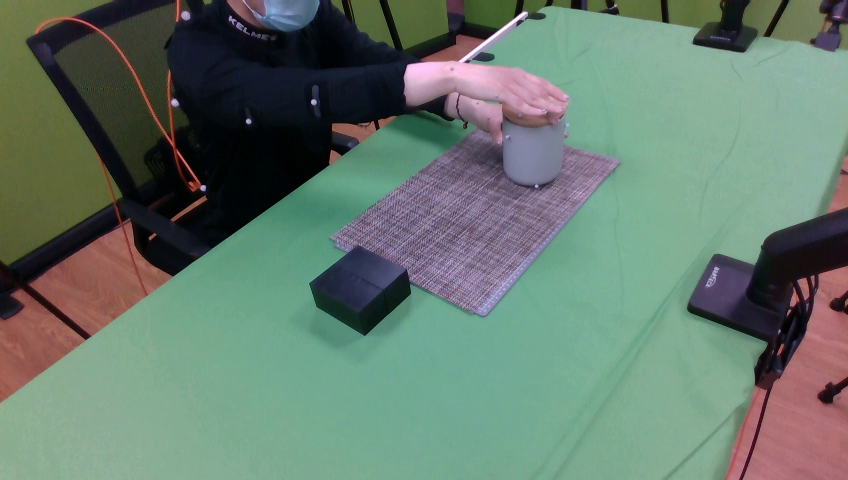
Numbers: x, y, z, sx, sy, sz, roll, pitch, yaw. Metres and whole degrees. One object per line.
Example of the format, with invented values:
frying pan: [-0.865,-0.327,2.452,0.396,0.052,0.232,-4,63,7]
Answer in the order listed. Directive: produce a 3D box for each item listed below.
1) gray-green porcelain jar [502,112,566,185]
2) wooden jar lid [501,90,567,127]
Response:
gray-green porcelain jar: [0.189,-0.168,1.051,0.106,0.127,0.105,-4,41,4]
wooden jar lid: [0.184,-0.218,1.006,0.108,0.021,0.108,-6,40,5]
